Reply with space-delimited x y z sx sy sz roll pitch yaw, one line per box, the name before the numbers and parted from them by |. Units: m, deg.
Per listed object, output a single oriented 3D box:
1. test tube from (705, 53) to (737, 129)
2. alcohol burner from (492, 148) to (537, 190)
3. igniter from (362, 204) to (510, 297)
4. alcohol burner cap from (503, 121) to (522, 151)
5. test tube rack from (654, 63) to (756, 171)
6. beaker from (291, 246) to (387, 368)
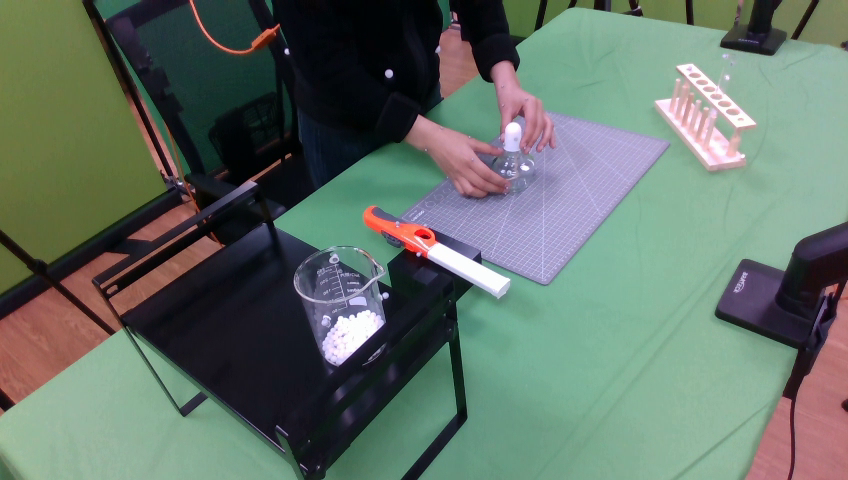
test tube | 0.526 -0.260 1.074 0.017 0.151 0.017 -2 44 2
alcohol burner | 0.156 -0.146 1.045 0.078 0.119 0.077 -4 44 4
igniter | 0.007 0.009 0.887 0.274 0.025 0.057 29 50 32
alcohol burner cap | 0.150 -0.177 1.017 0.034 0.048 0.033 -2 35 2
test tube rack | 0.511 -0.233 1.120 0.067 0.085 0.241 -8 41 -1
beaker | -0.073 0.066 0.572 0.084 0.101 0.073 -7 41 0
